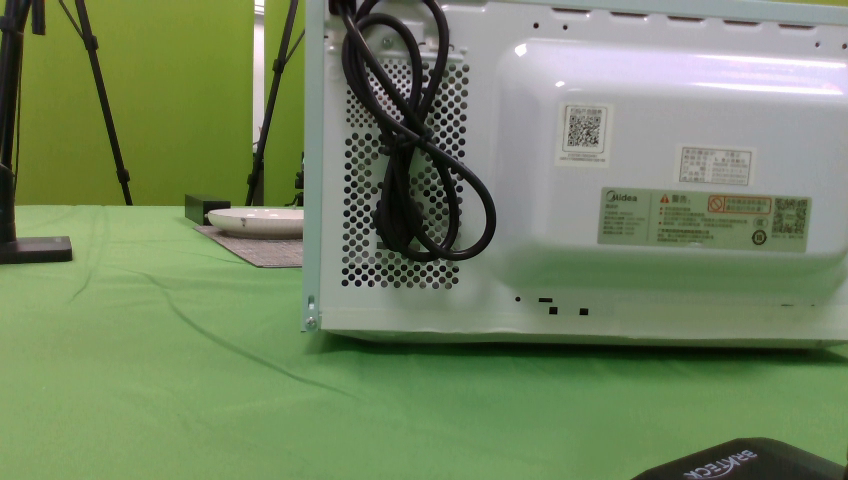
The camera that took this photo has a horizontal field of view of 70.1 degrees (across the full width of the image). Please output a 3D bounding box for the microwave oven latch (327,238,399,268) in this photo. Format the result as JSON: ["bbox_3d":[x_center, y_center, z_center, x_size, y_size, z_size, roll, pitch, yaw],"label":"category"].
[{"bbox_3d":[-0.069,0.015,0.694,0.079,0.029,0.030,3,7,-3],"label":"microwave oven latch"}]

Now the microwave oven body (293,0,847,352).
[{"bbox_3d":[0.122,-0.055,0.550,0.442,0.260,0.325,3,7,-5],"label":"microwave oven body"}]

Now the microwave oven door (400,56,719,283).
[{"bbox_3d":[0.155,-0.077,0.698,0.356,0.243,0.039,2,8,-5],"label":"microwave oven door"}]

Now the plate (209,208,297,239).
[{"bbox_3d":[-0.271,-0.029,1.074,0.208,0.039,0.207,3,7,0],"label":"plate"}]
